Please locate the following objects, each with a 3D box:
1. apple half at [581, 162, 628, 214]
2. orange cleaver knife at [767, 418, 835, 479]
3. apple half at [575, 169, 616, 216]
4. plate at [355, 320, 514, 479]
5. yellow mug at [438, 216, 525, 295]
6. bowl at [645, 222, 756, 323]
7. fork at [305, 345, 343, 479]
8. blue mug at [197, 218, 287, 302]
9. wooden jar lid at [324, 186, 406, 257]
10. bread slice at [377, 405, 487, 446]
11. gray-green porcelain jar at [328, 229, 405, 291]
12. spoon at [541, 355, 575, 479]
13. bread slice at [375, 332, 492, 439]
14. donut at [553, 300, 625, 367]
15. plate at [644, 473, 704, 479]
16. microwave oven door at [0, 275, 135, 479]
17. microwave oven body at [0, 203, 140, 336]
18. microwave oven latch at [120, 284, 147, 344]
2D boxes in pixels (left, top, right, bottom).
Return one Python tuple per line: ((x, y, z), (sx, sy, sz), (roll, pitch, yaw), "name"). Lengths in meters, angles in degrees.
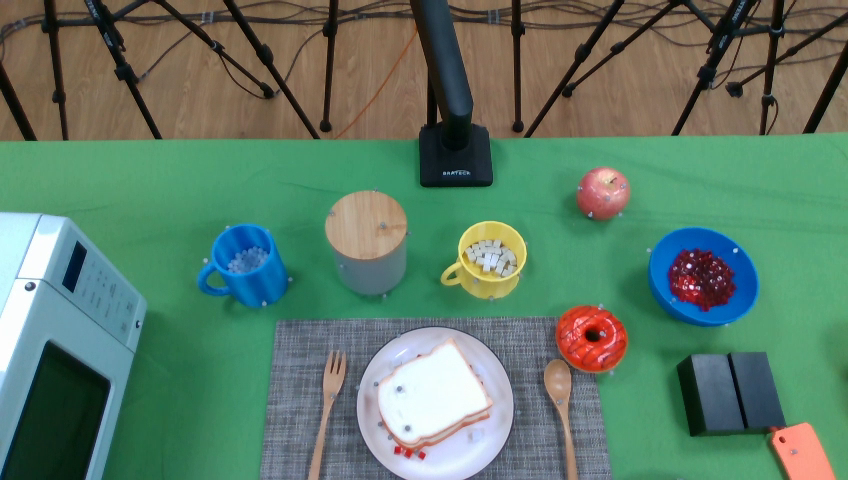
((0.288, -0.084, 0.952), (0.053, 0.075, 0.080), (-28, 62, -21), "apple half")
((0.497, 0.332, 0.770), (0.077, 0.012, 0.209), (4, 60, -7), "orange cleaver knife")
((0.256, -0.065, 0.939), (0.033, 0.082, 0.080), (-29, 66, -21), "apple half")
((0.014, 0.209, 0.804), (0.208, 0.039, 0.206), (1, 62, -1), "plate")
((0.081, 0.029, 0.890), (0.131, 0.064, 0.099), (-22, 65, -12), "yellow mug")
((0.386, 0.058, 0.877), (0.151, 0.077, 0.150), (1, 63, -1), "bowl")
((-0.134, 0.237, 0.794), (0.028, 0.019, 0.205), (10, 60, -5), "fork")
((-0.259, 0.037, 0.852), (0.116, 0.106, 0.081), (-23, 65, -13), "blue mug")
((-0.079, -0.023, 0.807), (0.108, 0.021, 0.107), (1, 60, -1), "wooden jar lid")
((0.005, 0.211, 0.806), (0.131, 0.019, 0.104), (-25, 66, -16), "bread slice")
((-0.080, 0.007, 0.862), (0.106, 0.127, 0.105), (1, 62, -1), "gray-green porcelain jar")
((0.182, 0.248, 0.797), (0.042, 0.022, 0.192), (9, 59, -22), "spoon")
((0.006, 0.195, 0.782), (0.134, 0.018, 0.106), (-28, 63, -17), "bread slice")
((0.230, 0.131, 0.849), (0.099, 0.048, 0.098), (1, 63, -2), "donut")
((0.310, 0.390, 0.722), (0.209, 0.038, 0.207), (1, 62, -1), "plate")
((-0.414, 0.245, 0.639), (0.039, 0.245, 0.353), (2, 62, 0), "microwave oven door")
((-0.558, 0.203, 0.662), (0.326, 0.262, 0.438), (3, 63, -1), "microwave oven body")
((-0.404, 0.101, 0.831), (0.030, 0.030, 0.078), (4, 63, 0), "microwave oven latch")
